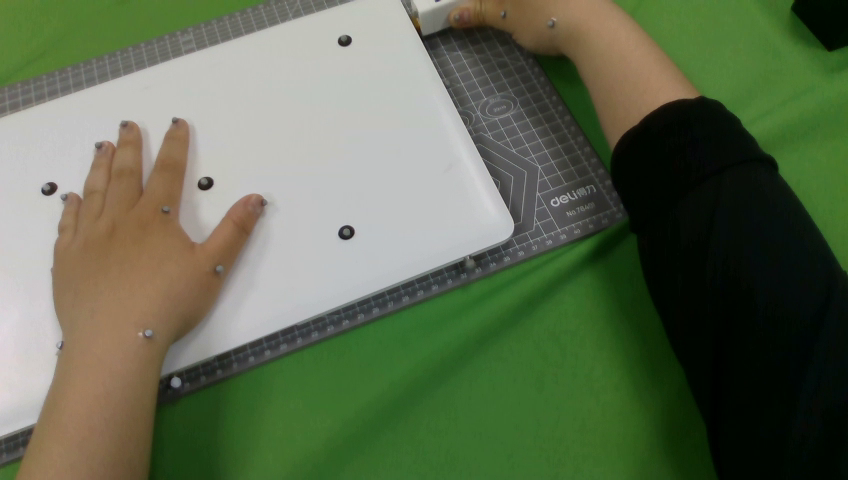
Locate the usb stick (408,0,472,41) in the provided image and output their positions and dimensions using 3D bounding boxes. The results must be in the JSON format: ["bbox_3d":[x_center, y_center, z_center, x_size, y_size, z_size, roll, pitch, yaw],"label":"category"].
[{"bbox_3d":[0.006,-0.172,0.462,0.059,0.027,0.021,-24,60,-1],"label":"usb stick"}]

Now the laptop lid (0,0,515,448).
[{"bbox_3d":[-0.144,-0.034,0.408,0.357,0.013,0.239,-20,67,-6],"label":"laptop lid"}]

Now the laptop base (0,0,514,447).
[{"bbox_3d":[-0.144,-0.031,0.418,0.354,0.023,0.233,-21,68,-7],"label":"laptop base"}]
